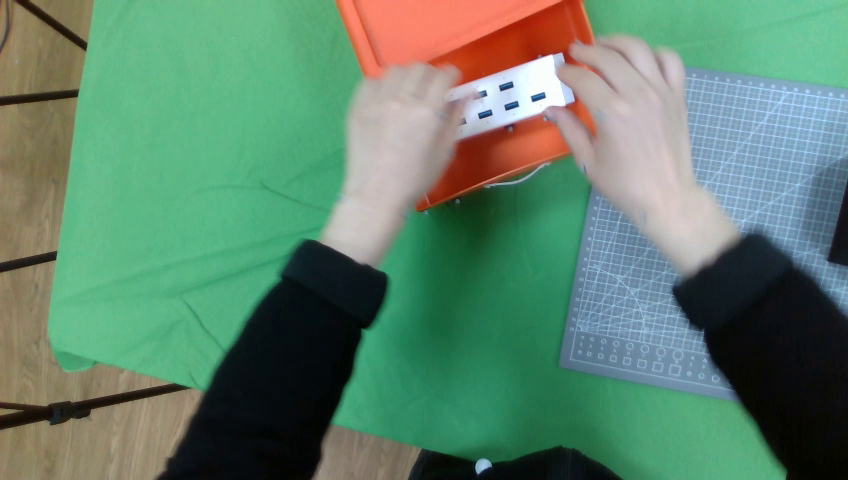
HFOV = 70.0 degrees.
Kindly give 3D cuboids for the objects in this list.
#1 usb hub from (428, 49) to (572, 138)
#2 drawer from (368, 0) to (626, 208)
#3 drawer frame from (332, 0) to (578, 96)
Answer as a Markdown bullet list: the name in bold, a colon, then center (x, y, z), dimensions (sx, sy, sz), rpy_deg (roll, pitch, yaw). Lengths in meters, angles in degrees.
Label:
- **usb hub**: center (0.069, -0.135, 0.558), dimensions (0.125, 0.025, 0.050), rpy_deg (-13, 102, 16)
- **drawer**: center (0.048, -0.158, 0.545), dimensions (0.194, 0.073, 0.212), rpy_deg (-20, 92, 10)
- **drawer frame**: center (0.005, -0.268, 0.535), dimensions (0.201, 0.083, 0.213), rpy_deg (-23, 92, 10)
